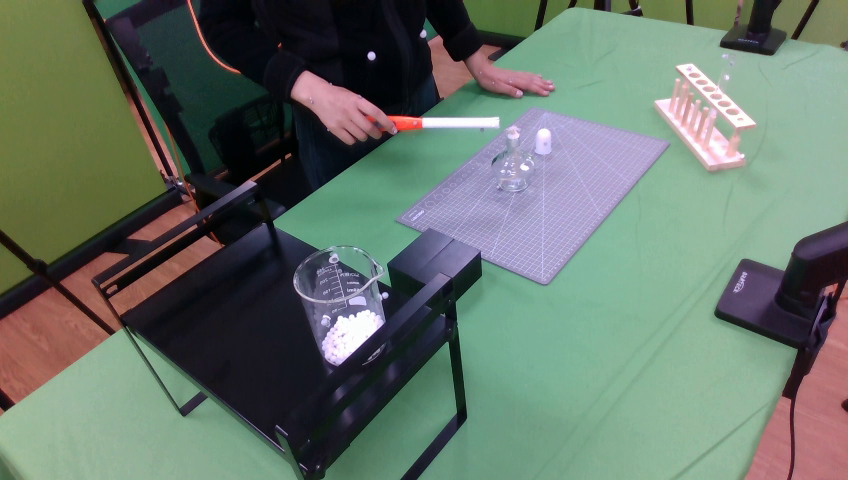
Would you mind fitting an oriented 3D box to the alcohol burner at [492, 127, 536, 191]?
[{"bbox_3d":[0.155,-0.146,1.046,0.078,0.119,0.077,-4,43,4],"label":"alcohol burner"}]

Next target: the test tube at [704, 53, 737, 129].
[{"bbox_3d":[0.526,-0.261,1.074,0.017,0.151,0.017,-2,44,2],"label":"test tube"}]

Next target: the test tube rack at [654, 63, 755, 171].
[{"bbox_3d":[0.510,-0.233,1.120,0.067,0.085,0.241,-8,41,-1],"label":"test tube rack"}]

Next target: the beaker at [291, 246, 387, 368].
[{"bbox_3d":[-0.073,0.066,0.573,0.084,0.101,0.073,-7,41,0],"label":"beaker"}]

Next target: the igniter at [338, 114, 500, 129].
[{"bbox_3d":[-0.012,-0.200,1.014,0.276,0.025,0.057,1,17,6],"label":"igniter"}]

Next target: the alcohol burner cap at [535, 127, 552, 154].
[{"bbox_3d":[0.227,-0.190,1.142,0.034,0.048,0.033,-3,40,3],"label":"alcohol burner cap"}]
